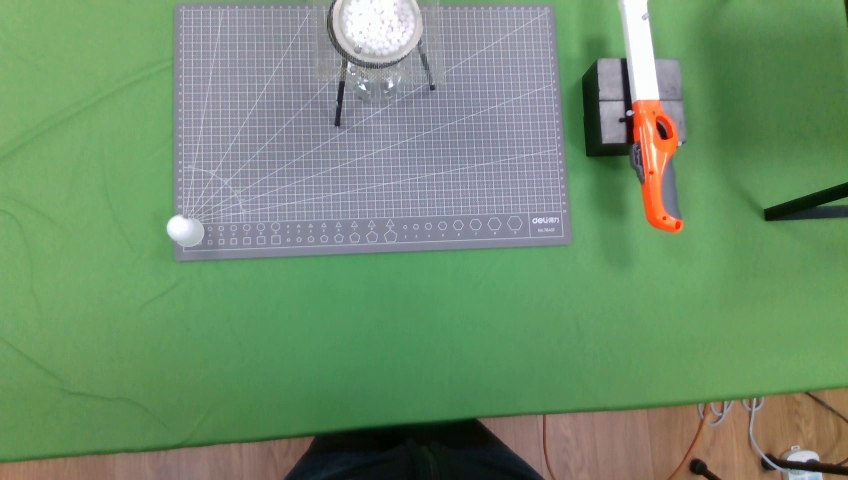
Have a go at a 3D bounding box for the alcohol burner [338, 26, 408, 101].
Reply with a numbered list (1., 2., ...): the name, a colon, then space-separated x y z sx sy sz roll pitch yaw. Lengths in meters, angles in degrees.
1. alcohol burner: -0.055 -0.198 0.659 0.078 0.119 0.077 1 83 -4

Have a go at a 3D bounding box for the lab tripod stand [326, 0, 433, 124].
1. lab tripod stand: -0.058 -0.204 0.649 0.148 0.131 0.148 1 82 -4

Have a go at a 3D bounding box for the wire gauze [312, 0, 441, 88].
1. wire gauze: -0.045 -0.209 0.585 0.125 0.011 0.121 0 84 -8

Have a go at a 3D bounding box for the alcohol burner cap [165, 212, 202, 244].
1. alcohol burner cap: -0.260 -0.015 0.648 0.034 0.048 0.033 1 80 -7

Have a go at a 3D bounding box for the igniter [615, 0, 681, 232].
1. igniter: 0.251 -0.144 0.684 0.057 0.025 0.275 -3 80 -10

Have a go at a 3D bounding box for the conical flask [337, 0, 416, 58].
1. conical flask: -0.041 -0.219 0.527 0.075 0.122 0.075 1 80 -4
